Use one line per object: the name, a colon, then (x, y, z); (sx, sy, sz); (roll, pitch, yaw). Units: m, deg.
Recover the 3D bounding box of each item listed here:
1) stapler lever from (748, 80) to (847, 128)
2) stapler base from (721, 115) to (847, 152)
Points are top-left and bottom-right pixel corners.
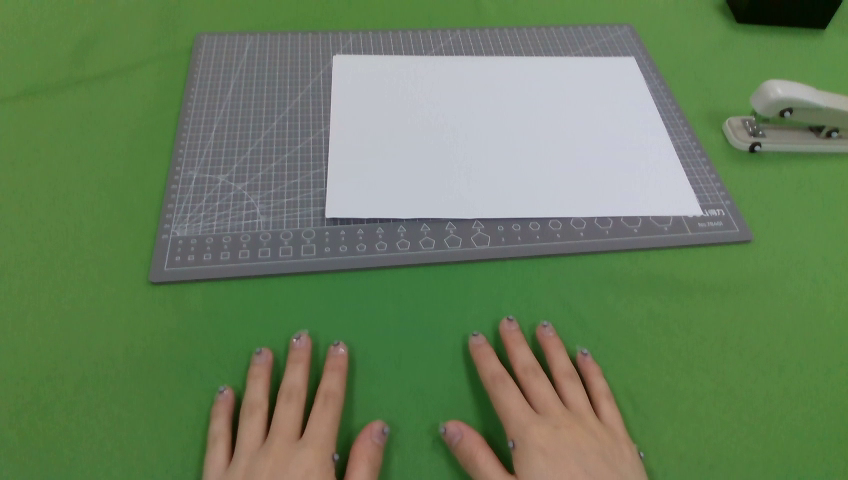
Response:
stapler lever: (0.341, -0.117, 0.526); (0.118, 0.040, 0.026); (0, 55, -5)
stapler base: (0.338, -0.101, 0.545); (0.131, 0.024, 0.041); (0, 55, -6)
